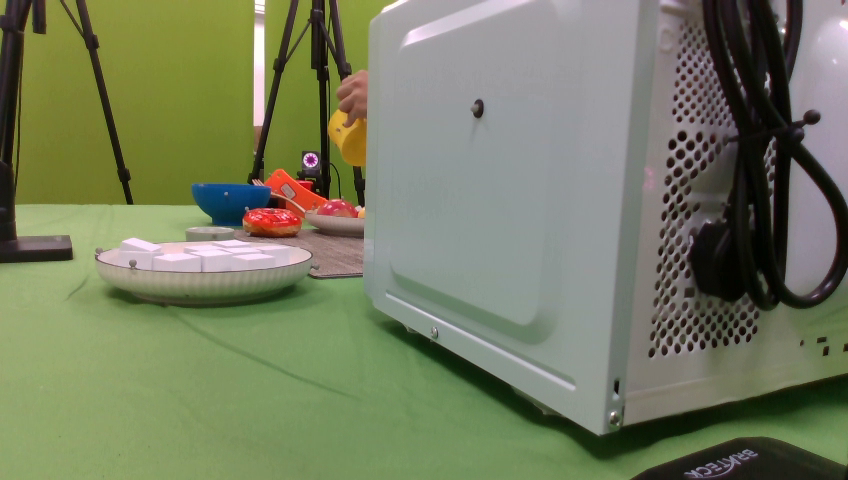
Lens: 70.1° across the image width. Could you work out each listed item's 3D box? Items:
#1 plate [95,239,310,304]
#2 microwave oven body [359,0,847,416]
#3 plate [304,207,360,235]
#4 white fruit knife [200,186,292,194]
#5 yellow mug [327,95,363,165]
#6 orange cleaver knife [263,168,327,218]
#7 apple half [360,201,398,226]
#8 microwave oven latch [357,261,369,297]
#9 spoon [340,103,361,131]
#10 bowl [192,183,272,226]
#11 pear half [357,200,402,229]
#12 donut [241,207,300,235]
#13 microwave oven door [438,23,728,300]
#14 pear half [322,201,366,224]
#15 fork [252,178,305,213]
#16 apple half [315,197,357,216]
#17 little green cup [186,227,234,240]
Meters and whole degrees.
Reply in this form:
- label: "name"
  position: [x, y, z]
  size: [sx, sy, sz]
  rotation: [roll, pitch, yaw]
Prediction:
- label: "plate"
  position: [-0.224, 0.031, 0.629]
  size: [0.208, 0.039, 0.207]
  rotation: [2, 8, 0]
- label: "microwave oven body"
  position: [0.211, -0.047, 0.474]
  size: [0.444, 0.260, 0.324]
  rotation: [-1, 7, -28]
- label: "plate"
  position: [-0.123, -0.037, 1.149]
  size: [0.209, 0.038, 0.209]
  rotation: [2, 7, 0]
- label: "white fruit knife"
  position: [-0.399, -0.111, 1.368]
  size: [0.208, 0.016, 0.027]
  rotation: [-4, -19, -30]
- label: "yellow mug"
  position: [-0.119, -0.206, 1.092]
  size: [0.100, 0.131, 0.063]
  rotation: [-25, 55, -15]
- label: "orange cleaver knife"
  position: [-0.262, -0.088, 1.353]
  size: [0.211, 0.077, 0.012]
  rotation: [28, 13, -1]
- label: "apple half"
  position: [-0.087, -0.058, 1.190]
  size: [0.081, 0.033, 0.081]
  rotation: [9, 28, -5]
- label: "microwave oven latch"
  position: [-0.019, 0.033, 0.530]
  size: [0.079, 0.029, 0.030]
  rotation: [-1, 7, -26]
- label: "spoon"
  position: [-0.146, -0.253, 1.228]
  size: [0.042, 0.021, 0.193]
  rotation: [7, 29, -8]
- label: "bowl"
  position: [-0.381, -0.071, 1.202]
  size: [0.151, 0.077, 0.151]
  rotation: [3, 7, 0]
- label: "pear half"
  position: [-0.075, -0.047, 1.132]
  size: [0.076, 0.056, 0.110]
  rotation: [12, 6, 31]
- label: "donut"
  position: [-0.263, -0.031, 1.039]
  size: [0.099, 0.048, 0.099]
  rotation: [4, 10, 0]
- label: "microwave oven door"
  position: [0.181, -0.072, 0.621]
  size: [0.358, 0.243, 0.039]
  rotation: [-2, 8, -29]
- label: "pear half"
  position: [-0.156, -0.058, 1.197]
  size: [0.088, 0.031, 0.070]
  rotation: [11, 31, -4]
- label: "fork"
  position: [-0.295, -0.084, 1.292]
  size: [0.206, 0.018, 0.028]
  rotation: [29, 10, 25]
- label: "apple half"
  position: [-0.162, -0.053, 1.121]
  size: [0.081, 0.053, 0.074]
  rotation: [4, 7, -14]
- label: "little green cup"
  position: [-0.285, 0.005, 0.805]
  size: [0.061, 0.038, 0.061]
  rotation: [2, 8, 0]
